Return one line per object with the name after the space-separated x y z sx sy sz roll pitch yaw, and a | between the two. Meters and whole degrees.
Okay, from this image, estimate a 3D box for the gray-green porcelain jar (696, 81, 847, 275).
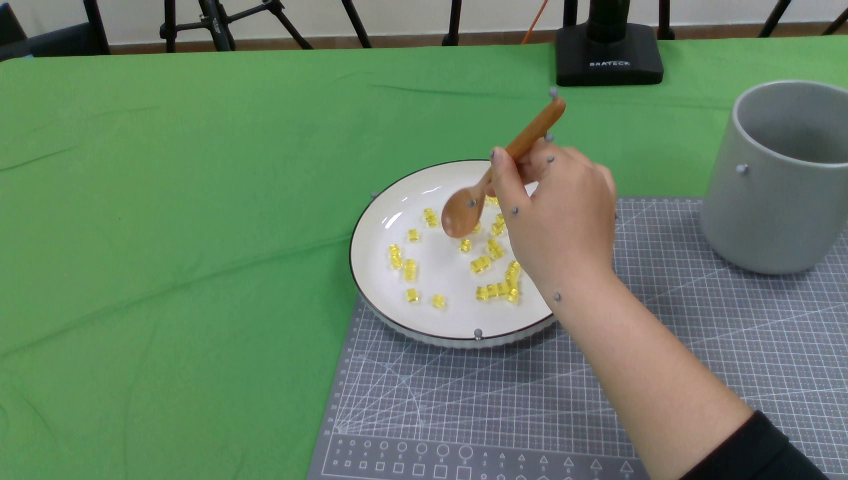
0.280 -0.043 0.479 0.106 0.128 0.105 -4 47 5 | gray-green porcelain jar

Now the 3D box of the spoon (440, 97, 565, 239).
0.052 -0.049 0.460 0.022 0.194 0.041 -8 72 -20 | spoon

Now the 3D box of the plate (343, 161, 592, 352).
0.036 0.012 0.522 0.207 0.039 0.205 -3 47 4 | plate
